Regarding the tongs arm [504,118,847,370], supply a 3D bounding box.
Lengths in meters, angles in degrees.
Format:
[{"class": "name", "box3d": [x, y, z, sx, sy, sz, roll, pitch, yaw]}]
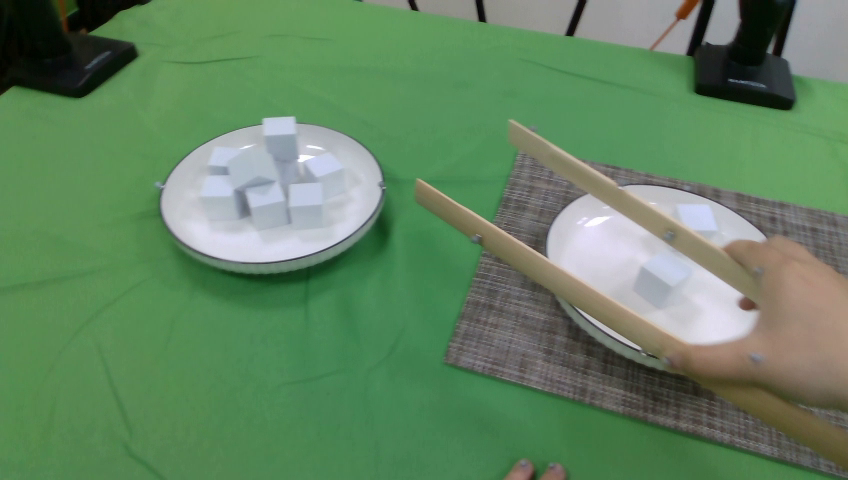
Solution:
[{"class": "tongs arm", "box3d": [0.183, 0.018, 0.424, 0.051, 0.027, 0.381, -33, 56, -28]}]

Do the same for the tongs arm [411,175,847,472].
[{"class": "tongs arm", "box3d": [0.139, 0.049, 0.396, 0.384, 0.028, 0.028, 32, 51, 26]}]

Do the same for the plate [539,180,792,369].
[{"class": "plate", "box3d": [0.203, 0.028, 0.529, 0.208, 0.039, 0.205, 1, 46, -1]}]

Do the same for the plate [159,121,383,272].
[{"class": "plate", "box3d": [-0.143, -0.042, 0.589, 0.209, 0.038, 0.207, 2, 45, -1]}]
